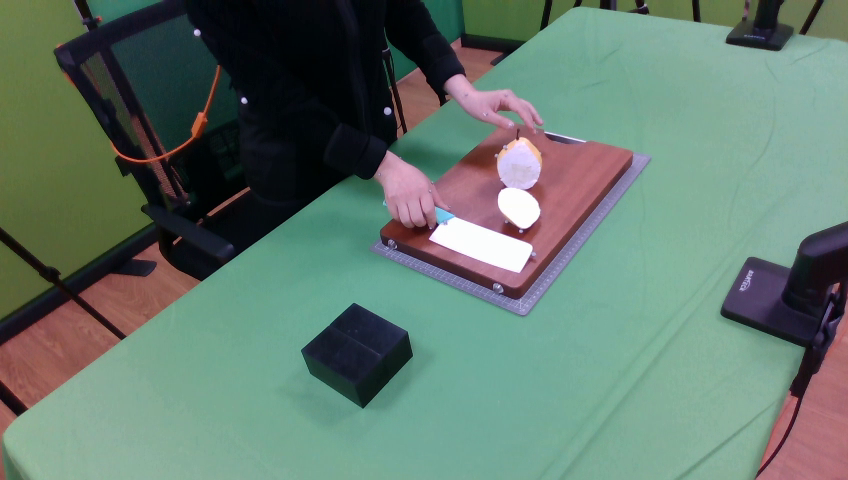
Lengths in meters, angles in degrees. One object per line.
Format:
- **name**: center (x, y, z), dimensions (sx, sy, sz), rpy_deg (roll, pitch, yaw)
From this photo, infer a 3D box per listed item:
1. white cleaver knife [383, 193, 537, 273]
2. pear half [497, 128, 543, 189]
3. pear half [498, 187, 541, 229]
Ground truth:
- **white cleaver knife**: center (0.043, -0.017, 0.953), dimensions (0.284, 0.021, 0.066), rpy_deg (22, 56, 32)
- **pear half**: center (0.162, -0.145, 1.014), dimensions (0.076, 0.110, 0.056), rpy_deg (2, 42, 8)
- **pear half**: center (0.149, -0.045, 0.956), dimensions (0.070, 0.031, 0.087), rpy_deg (4, 54, -9)
